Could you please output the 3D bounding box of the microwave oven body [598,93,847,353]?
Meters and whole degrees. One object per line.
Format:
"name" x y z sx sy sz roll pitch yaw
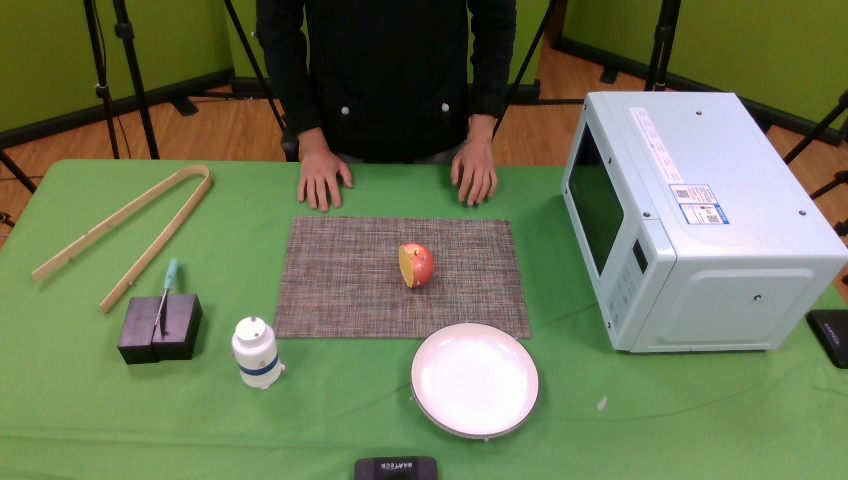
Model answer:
"microwave oven body" 0.475 -0.041 1.109 0.326 0.261 0.438 -1 45 -4

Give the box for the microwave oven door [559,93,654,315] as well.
"microwave oven door" 0.327 -0.074 1.123 0.039 0.245 0.353 -1 46 -5

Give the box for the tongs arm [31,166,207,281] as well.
"tongs arm" -0.578 -0.040 1.184 0.050 0.026 0.384 23 48 17

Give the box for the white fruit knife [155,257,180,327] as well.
"white fruit knife" -0.440 0.085 1.037 0.016 0.027 0.206 10 26 -19

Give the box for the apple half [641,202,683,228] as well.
"apple half" 0.457 -0.054 1.160 0.081 0.033 0.081 -1 32 1

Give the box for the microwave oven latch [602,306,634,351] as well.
"microwave oven latch" 0.332 0.153 1.044 0.030 0.029 0.078 -1 45 -4

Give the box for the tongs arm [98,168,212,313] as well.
"tongs arm" -0.503 -0.012 1.167 0.028 0.028 0.385 11 46 11

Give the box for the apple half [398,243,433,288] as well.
"apple half" -0.012 0.046 1.115 0.053 0.075 0.080 -11 44 -20

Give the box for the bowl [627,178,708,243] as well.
"bowl" 0.456 -0.047 1.168 0.151 0.077 0.150 7 36 -5

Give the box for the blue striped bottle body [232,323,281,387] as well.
"blue striped bottle body" -0.262 0.172 0.944 0.063 0.121 0.062 2 46 -2

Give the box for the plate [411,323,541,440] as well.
"plate" 0.082 0.228 0.976 0.208 0.039 0.206 2 45 -2

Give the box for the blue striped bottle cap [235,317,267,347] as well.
"blue striped bottle cap" -0.259 0.137 0.907 0.044 0.021 0.044 3 43 -2
